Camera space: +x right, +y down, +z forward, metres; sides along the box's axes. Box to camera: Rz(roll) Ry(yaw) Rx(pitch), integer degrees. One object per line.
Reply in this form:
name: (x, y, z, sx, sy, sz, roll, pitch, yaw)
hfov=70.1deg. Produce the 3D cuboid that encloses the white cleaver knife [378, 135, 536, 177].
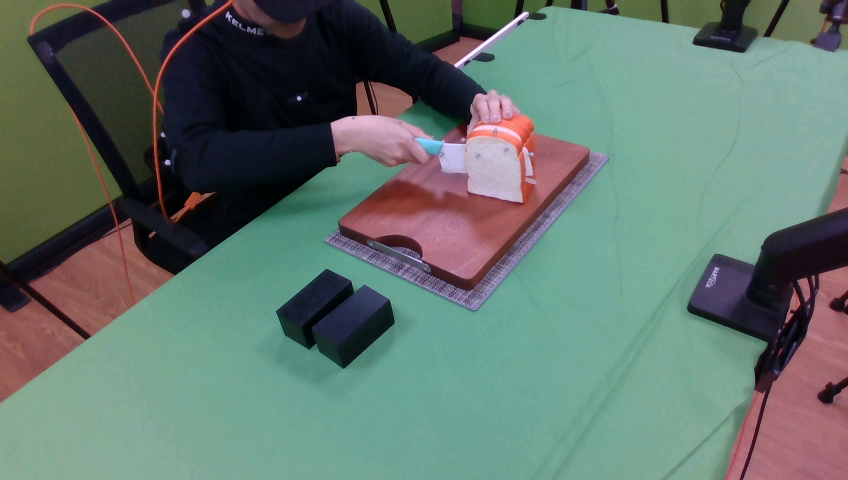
white cleaver knife: (0.045, -0.137, 1.002, 0.284, 0.066, 0.021, 10, 43, 28)

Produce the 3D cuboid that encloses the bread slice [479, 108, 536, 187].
bread slice: (0.138, -0.153, 1.002, 0.106, 0.135, 0.018, 19, 46, 23)

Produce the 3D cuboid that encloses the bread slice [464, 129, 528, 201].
bread slice: (0.111, -0.119, 0.966, 0.104, 0.132, 0.019, 12, 50, 22)
